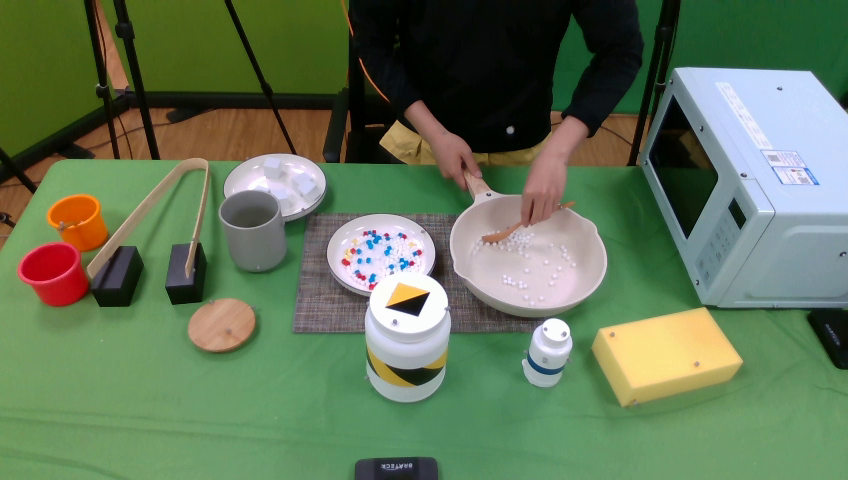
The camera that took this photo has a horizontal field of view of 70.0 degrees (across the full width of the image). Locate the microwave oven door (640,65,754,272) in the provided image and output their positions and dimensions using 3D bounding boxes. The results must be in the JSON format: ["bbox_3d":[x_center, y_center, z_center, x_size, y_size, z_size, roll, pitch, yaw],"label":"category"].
[{"bbox_3d":[0.524,-0.147,1.193,0.039,0.245,0.353,0,47,-3],"label":"microwave oven door"}]

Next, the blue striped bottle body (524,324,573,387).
[{"bbox_3d":[0.200,0.178,0.970,0.063,0.121,0.062,2,46,-2],"label":"blue striped bottle body"}]

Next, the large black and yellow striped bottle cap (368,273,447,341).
[{"bbox_3d":[-0.023,0.094,0.875,0.115,0.019,0.114,2,45,-2],"label":"large black and yellow striped bottle cap"}]

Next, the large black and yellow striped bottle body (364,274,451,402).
[{"bbox_3d":[-0.026,0.151,0.937,0.131,0.185,0.130,2,47,-2],"label":"large black and yellow striped bottle body"}]

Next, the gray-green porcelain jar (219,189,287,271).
[{"bbox_3d":[-0.310,-0.014,1.113,0.106,0.127,0.105,2,46,-2],"label":"gray-green porcelain jar"}]

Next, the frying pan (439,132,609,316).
[{"bbox_3d":[0.149,-0.049,1.190,0.307,0.103,0.484,-17,58,-20],"label":"frying pan"}]

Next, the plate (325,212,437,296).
[{"bbox_3d":[-0.080,0.030,1.143,0.209,0.038,0.208,2,46,-2],"label":"plate"}]

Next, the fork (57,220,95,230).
[{"bbox_3d":[-0.624,-0.027,1.086,0.028,0.207,0.018,-3,92,-17],"label":"fork"}]

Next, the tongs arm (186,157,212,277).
[{"bbox_3d":[-0.445,-0.058,1.168,0.051,0.026,0.382,-5,37,-6],"label":"tongs arm"}]

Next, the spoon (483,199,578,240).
[{"bbox_3d":[0.206,-0.042,1.179,0.194,0.042,0.021,-26,69,9],"label":"spoon"}]

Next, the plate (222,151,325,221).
[{"bbox_3d":[-0.310,-0.106,1.263,0.208,0.039,0.206,2,47,-2],"label":"plate"}]

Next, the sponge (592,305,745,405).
[{"bbox_3d":[0.405,0.190,1.014,0.207,0.061,0.117,-10,48,-12],"label":"sponge"}]

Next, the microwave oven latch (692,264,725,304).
[{"bbox_3d":[0.522,0.081,1.116,0.030,0.029,0.078,1,46,-2],"label":"microwave oven latch"}]

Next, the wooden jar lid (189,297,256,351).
[{"bbox_3d":[-0.342,0.145,1.033,0.108,0.021,0.107,2,45,-2],"label":"wooden jar lid"}]

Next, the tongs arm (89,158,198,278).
[{"bbox_3d":[-0.529,-0.057,1.164,0.028,0.028,0.385,1,36,8],"label":"tongs arm"}]

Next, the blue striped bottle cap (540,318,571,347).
[{"bbox_3d":[0.203,0.142,0.933,0.044,0.021,0.044,3,49,-3],"label":"blue striped bottle cap"}]

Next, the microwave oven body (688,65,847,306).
[{"bbox_3d":[0.669,-0.111,1.176,0.326,0.261,0.439,0,46,-3],"label":"microwave oven body"}]
